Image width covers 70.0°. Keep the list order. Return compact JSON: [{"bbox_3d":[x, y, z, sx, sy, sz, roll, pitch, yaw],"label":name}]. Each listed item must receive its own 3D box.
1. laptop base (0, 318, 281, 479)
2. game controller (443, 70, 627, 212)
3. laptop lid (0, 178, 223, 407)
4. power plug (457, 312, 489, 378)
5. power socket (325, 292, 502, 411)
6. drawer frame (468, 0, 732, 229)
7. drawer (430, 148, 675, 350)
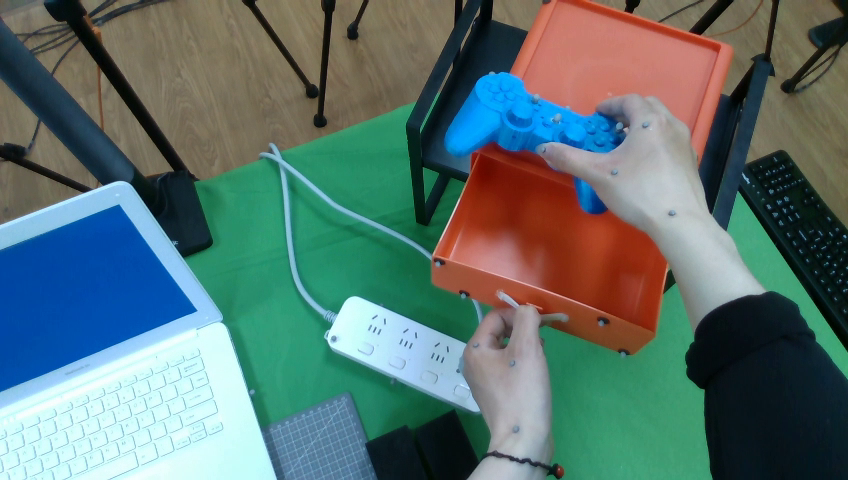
[{"bbox_3d":[-0.362,0.260,0.701,0.354,0.023,0.234,-23,73,-8],"label":"laptop base"},{"bbox_3d":[0.104,-0.095,0.533,0.155,0.052,0.096,24,56,4],"label":"game controller"},{"bbox_3d":[-0.432,0.081,0.657,0.357,0.244,0.013,-24,46,-7],"label":"laptop lid"},{"bbox_3d":[0.066,0.128,0.711,0.035,0.053,0.072,31,71,12],"label":"power plug"},{"bbox_3d":[-0.012,0.134,0.735,0.226,0.033,0.072,23,71,10],"label":"power socket"},{"bbox_3d":[0.175,-0.125,0.612,0.201,0.083,0.212,21,70,9],"label":"drawer frame"},{"bbox_3d":[0.132,-0.028,0.569,0.194,0.074,0.210,19,66,9],"label":"drawer"}]
